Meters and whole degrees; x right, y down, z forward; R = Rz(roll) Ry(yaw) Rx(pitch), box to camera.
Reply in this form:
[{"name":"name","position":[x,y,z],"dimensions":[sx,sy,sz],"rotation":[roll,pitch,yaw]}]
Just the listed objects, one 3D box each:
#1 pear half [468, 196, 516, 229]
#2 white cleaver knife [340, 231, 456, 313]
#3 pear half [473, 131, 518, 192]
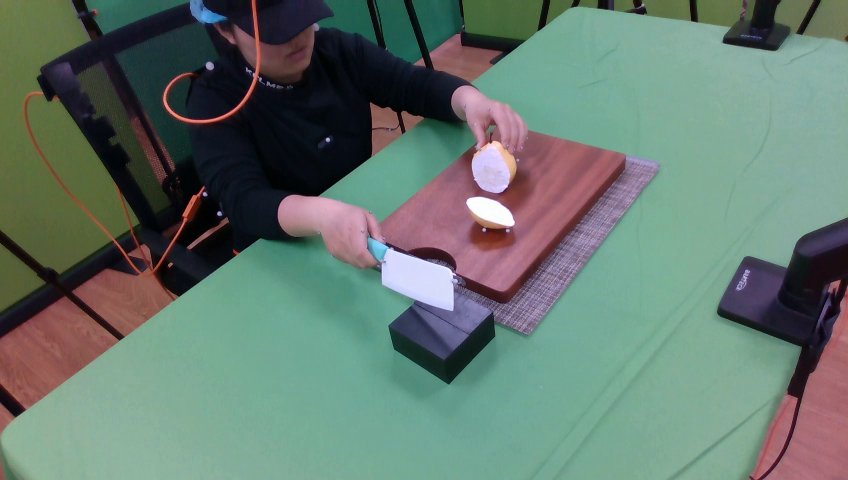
[{"name":"pear half","position":[0.106,-0.037,0.957],"dimensions":[0.071,0.031,0.087],"rotation":[-22,52,-37]},{"name":"white cleaver knife","position":[-0.047,0.039,0.851],"dimensions":[0.022,0.066,0.284],"rotation":[-3,13,-35]},{"name":"pear half","position":[0.123,-0.140,1.017],"dimensions":[0.076,0.110,0.056],"rotation":[14,44,21]}]
